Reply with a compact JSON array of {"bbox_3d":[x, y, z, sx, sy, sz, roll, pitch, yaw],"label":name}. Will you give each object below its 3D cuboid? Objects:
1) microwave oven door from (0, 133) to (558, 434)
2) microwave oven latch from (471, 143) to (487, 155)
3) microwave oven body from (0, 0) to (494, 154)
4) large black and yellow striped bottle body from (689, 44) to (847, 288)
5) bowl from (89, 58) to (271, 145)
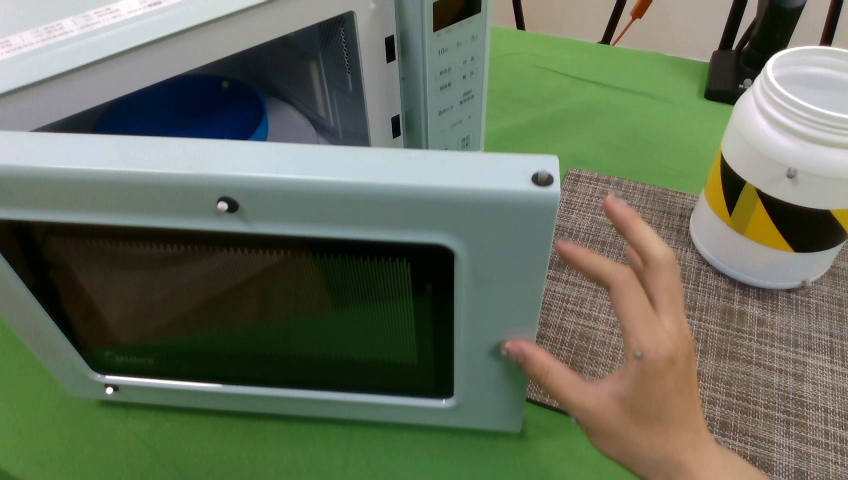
[{"bbox_3d":[-0.106,0.041,0.388,0.355,0.246,0.039,3,46,5],"label":"microwave oven door"},{"bbox_3d":[0.031,-0.080,0.643,0.079,0.030,0.030,-30,53,-24],"label":"microwave oven latch"},{"bbox_3d":[-0.203,-0.143,0.576,0.442,0.262,0.322,-32,54,-25],"label":"microwave oven body"},{"bbox_3d":[0.323,-0.061,0.530,0.131,0.186,0.129,-1,46,1],"label":"large black and yellow striped bottle body"},{"bbox_3d":[-0.209,-0.085,0.552,0.151,0.077,0.150,1,58,-1],"label":"bowl"}]
